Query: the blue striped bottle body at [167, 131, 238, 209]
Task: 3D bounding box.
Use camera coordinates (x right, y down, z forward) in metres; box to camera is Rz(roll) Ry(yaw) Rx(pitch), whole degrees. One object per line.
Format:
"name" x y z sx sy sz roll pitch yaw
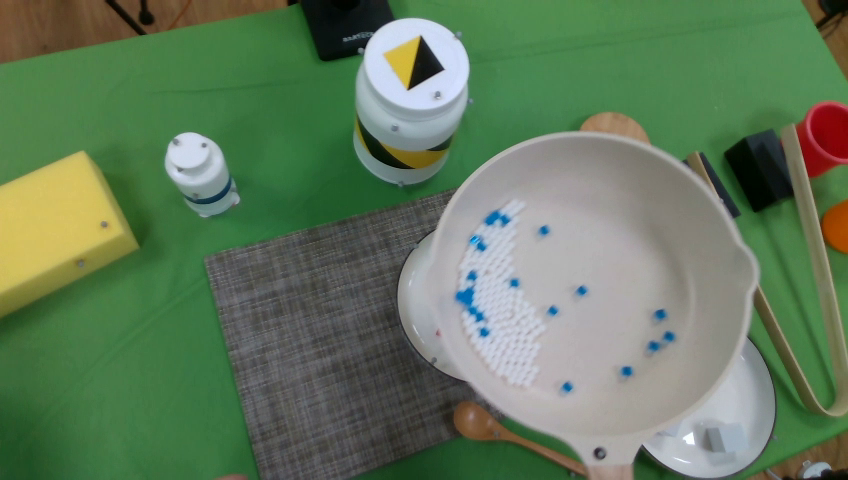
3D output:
"blue striped bottle body" -0.260 -0.085 0.712 0.063 0.121 0.062 2 72 -8

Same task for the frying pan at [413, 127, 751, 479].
"frying pan" 0.148 0.135 0.547 0.307 0.103 0.484 -3 69 4

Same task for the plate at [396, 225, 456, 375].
"plate" 0.067 0.069 0.753 0.209 0.038 0.208 2 73 -7

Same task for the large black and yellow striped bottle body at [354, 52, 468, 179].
"large black and yellow striped bottle body" -0.019 -0.167 0.740 0.131 0.184 0.130 2 72 -7

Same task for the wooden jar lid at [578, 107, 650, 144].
"wooden jar lid" 0.266 -0.137 0.859 0.108 0.021 0.108 2 74 -8

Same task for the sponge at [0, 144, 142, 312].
"sponge" -0.453 -0.006 0.690 0.207 0.061 0.117 -30 80 -16

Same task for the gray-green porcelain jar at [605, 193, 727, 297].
"gray-green porcelain jar" 0.295 0.012 0.761 0.106 0.127 0.105 2 72 -7

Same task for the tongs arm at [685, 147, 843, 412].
"tongs arm" 0.441 0.049 0.789 0.051 0.026 0.384 -22 88 -16

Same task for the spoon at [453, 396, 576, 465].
"spoon" 0.122 0.236 0.720 0.194 0.022 0.041 24 53 -2

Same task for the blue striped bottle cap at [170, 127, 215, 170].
"blue striped bottle cap" -0.254 -0.100 0.663 0.044 0.021 0.044 2 71 -5

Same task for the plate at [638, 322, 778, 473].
"plate" 0.338 0.183 0.763 0.208 0.039 0.206 2 72 -7

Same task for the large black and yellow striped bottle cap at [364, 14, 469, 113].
"large black and yellow striped bottle cap" -0.008 -0.193 0.659 0.115 0.019 0.114 2 72 -7

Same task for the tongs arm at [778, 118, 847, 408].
"tongs arm" 0.521 0.026 0.809 0.028 0.028 0.386 -7 84 -18
